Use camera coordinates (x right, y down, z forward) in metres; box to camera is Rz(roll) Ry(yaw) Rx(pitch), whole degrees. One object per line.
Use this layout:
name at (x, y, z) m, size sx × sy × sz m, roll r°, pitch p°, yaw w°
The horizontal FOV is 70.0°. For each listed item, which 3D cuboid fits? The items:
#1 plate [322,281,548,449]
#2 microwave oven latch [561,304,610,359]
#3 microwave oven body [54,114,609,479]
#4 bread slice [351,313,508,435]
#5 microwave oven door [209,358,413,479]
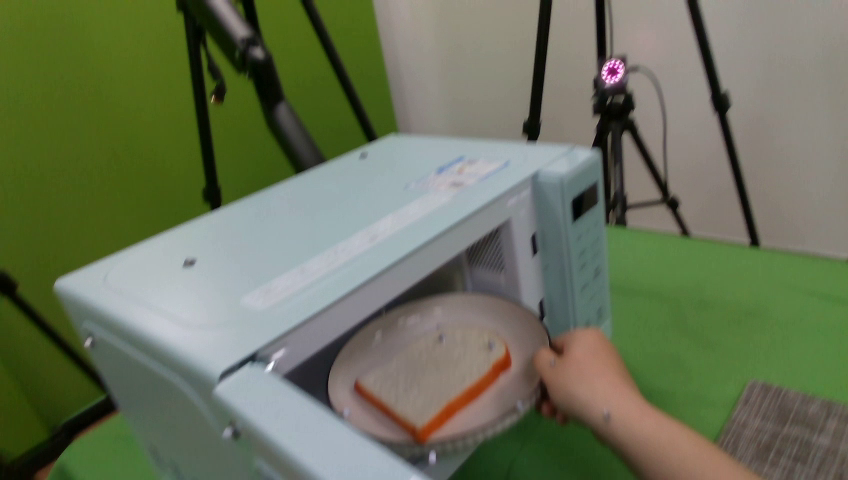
plate at (0.011, 0.112, 0.557) m, size 0.209 × 0.038 × 0.207 m, roll -12°, pitch 29°, yaw 7°
microwave oven latch at (0.184, 0.100, 0.688) m, size 0.030 × 0.030 × 0.079 m, roll 14°, pitch 36°, yaw 40°
microwave oven body at (-0.058, 0.067, 0.628) m, size 0.323 × 0.262 × 0.441 m, roll 14°, pitch 36°, yaw 40°
bread slice at (0.009, 0.113, 0.560) m, size 0.131 × 0.019 × 0.104 m, roll -33°, pitch 34°, yaw -28°
microwave oven door at (0.026, 0.213, 0.282) m, size 0.039 × 0.246 × 0.352 m, roll -31°, pitch 32°, yaw -34°
